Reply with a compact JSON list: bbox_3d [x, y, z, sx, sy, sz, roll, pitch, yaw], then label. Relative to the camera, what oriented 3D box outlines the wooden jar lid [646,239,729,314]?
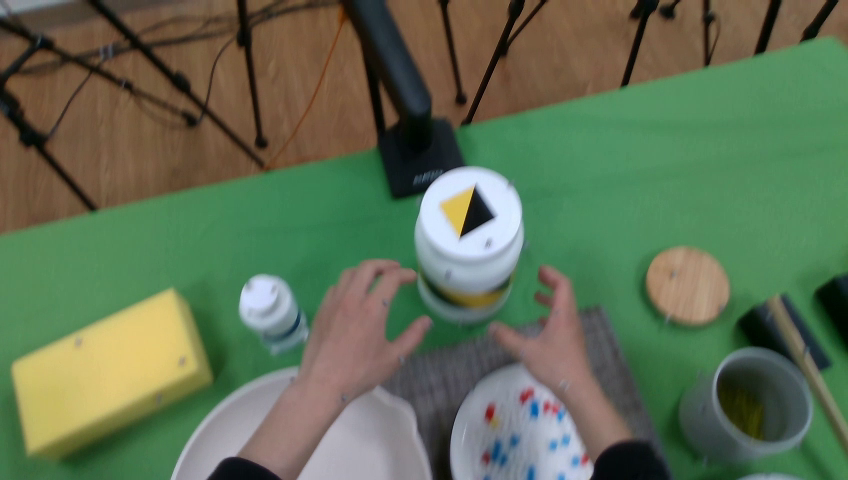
[{"bbox_3d":[0.355,0.051,0.821,0.108,0.021,0.107,0,66,1],"label":"wooden jar lid"}]

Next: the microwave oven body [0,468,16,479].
[{"bbox_3d":[-0.570,0.448,0.511,0.326,0.262,0.437,-13,65,-6],"label":"microwave oven body"}]

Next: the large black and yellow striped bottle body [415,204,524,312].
[{"bbox_3d":[0.056,0.002,0.760,0.131,0.185,0.129,-1,64,2],"label":"large black and yellow striped bottle body"}]

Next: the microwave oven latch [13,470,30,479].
[{"bbox_3d":[-0.466,0.303,0.685,0.030,0.030,0.078,-13,66,-6],"label":"microwave oven latch"}]

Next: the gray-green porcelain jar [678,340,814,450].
[{"bbox_3d":[0.362,0.183,0.699,0.106,0.127,0.105,0,64,1],"label":"gray-green porcelain jar"}]

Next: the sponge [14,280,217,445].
[{"bbox_3d":[-0.384,0.152,0.763,0.207,0.061,0.117,-26,67,-12],"label":"sponge"}]

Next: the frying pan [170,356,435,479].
[{"bbox_3d":[-0.070,0.347,0.638,0.307,0.104,0.483,-36,61,-14],"label":"frying pan"}]

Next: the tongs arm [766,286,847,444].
[{"bbox_3d":[0.509,0.224,0.696,0.051,0.026,0.382,-18,76,-10],"label":"tongs arm"}]

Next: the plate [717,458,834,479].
[{"bbox_3d":[0.399,0.351,0.668,0.207,0.039,0.206,-1,64,1],"label":"plate"}]

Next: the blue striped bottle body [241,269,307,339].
[{"bbox_3d":[-0.189,0.078,0.762,0.063,0.122,0.062,0,64,1],"label":"blue striped bottle body"}]

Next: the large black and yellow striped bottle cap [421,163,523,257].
[{"bbox_3d":[0.053,-0.035,0.682,0.115,0.019,0.114,-1,63,2],"label":"large black and yellow striped bottle cap"}]

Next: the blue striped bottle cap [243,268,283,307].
[{"bbox_3d":[-0.190,0.056,0.715,0.044,0.021,0.044,-2,62,3],"label":"blue striped bottle cap"}]

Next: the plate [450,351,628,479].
[{"bbox_3d":[0.134,0.237,0.722,0.209,0.038,0.207,0,65,1],"label":"plate"}]
